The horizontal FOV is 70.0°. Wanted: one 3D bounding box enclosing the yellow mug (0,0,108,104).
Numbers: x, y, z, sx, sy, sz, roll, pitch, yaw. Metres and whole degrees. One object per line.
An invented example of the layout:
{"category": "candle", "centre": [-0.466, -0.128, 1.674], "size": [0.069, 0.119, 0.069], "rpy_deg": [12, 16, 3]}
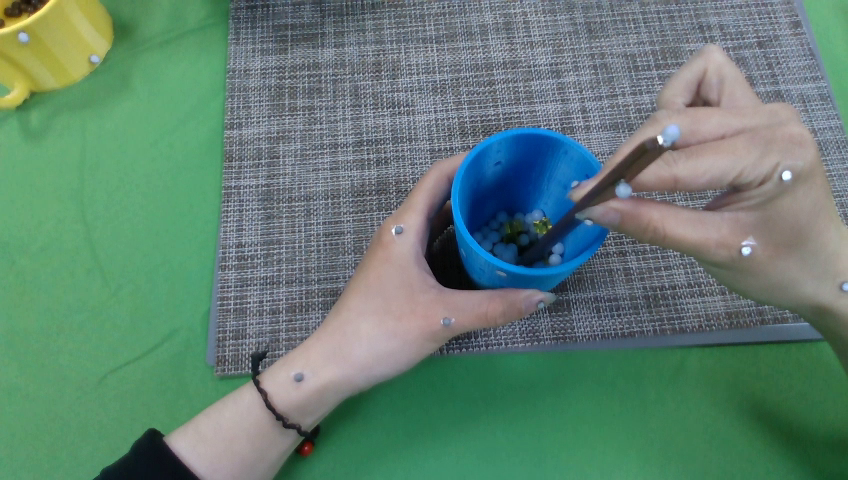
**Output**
{"category": "yellow mug", "centre": [-0.302, -0.161, 0.443], "size": [0.100, 0.064, 0.130], "rpy_deg": [7, 70, 3]}

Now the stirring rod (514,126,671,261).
{"category": "stirring rod", "centre": [0.072, -0.013, 0.297], "size": [0.014, 0.177, 0.006], "rpy_deg": [-20, 77, -13]}

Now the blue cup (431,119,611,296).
{"category": "blue cup", "centre": [0.055, -0.008, 0.359], "size": [0.092, 0.101, 0.092], "rpy_deg": [0, 70, 1]}
